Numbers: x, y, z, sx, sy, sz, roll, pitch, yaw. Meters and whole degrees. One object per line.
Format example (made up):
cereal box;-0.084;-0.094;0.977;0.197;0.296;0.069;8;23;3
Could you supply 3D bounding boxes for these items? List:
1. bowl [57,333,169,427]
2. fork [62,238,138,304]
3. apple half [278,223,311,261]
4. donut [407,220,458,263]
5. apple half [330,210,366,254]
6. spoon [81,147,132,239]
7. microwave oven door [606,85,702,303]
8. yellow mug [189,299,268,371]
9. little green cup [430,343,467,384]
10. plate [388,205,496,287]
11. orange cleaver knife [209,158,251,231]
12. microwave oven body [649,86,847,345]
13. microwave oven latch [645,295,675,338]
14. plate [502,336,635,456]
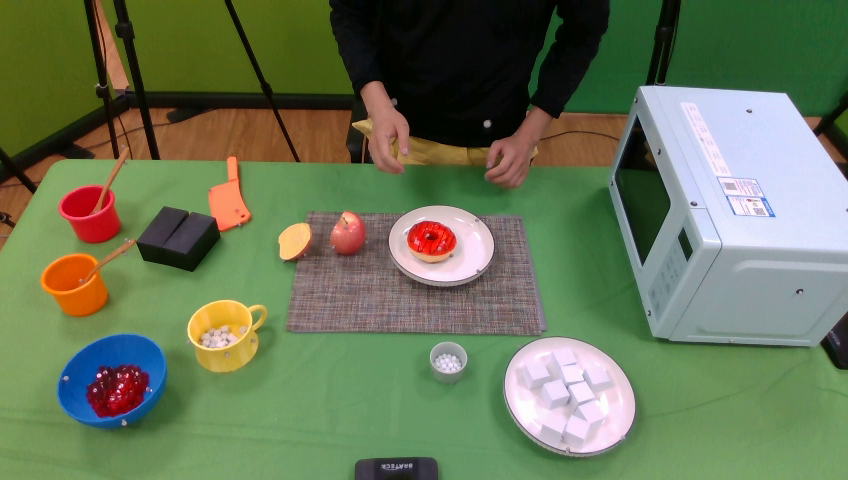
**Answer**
bowl;-0.456;0.223;0.912;0.151;0.077;0.150;3;45;-2
fork;-0.547;0.053;1.018;0.207;0.019;0.028;-36;41;23
apple half;-0.241;0.007;1.157;0.081;0.033;0.081;-17;54;25
donut;0.016;0.002;1.166;0.099;0.048;0.098;2;44;-2
apple half;-0.139;-0.009;1.157;0.053;0.075;0.080;17;44;8
spoon;-0.603;-0.089;1.156;0.041;0.022;0.193;27;94;19
microwave oven door;0.423;-0.094;1.140;0.039;0.245;0.353;2;46;-1
yellow mug;-0.316;0.148;1.002;0.131;0.064;0.099;-33;56;-31
little green cup;0.039;0.203;0.993;0.061;0.039;0.061;2;46;-2
plate;0.033;0.014;1.171;0.209;0.038;0.208;2;46;-2
orange cleaver knife;-0.409;-0.099;1.266;0.077;0.012;0.210;-13;50;-10
microwave oven body;0.568;-0.053;1.118;0.326;0.261;0.439;2;45;-1
microwave oven latch;0.412;0.134;1.061;0.030;0.029;0.078;3;45;0
plate;0.225;0.248;0.964;0.208;0.039;0.206;2;46;-2
